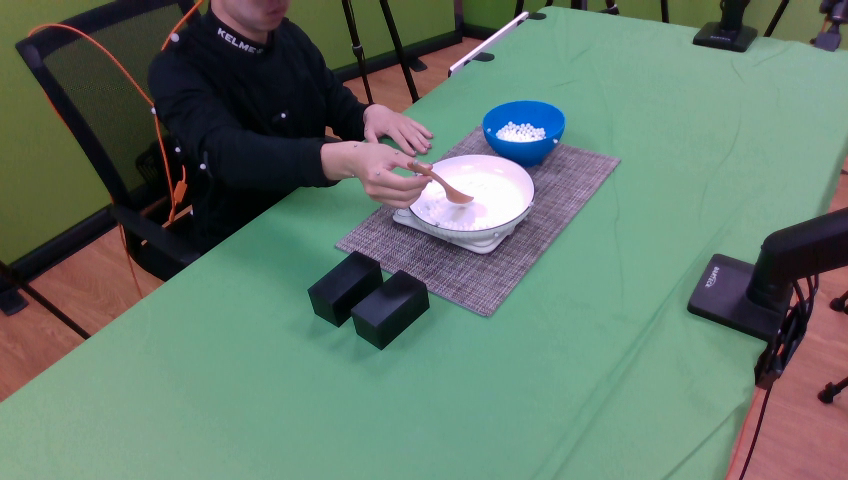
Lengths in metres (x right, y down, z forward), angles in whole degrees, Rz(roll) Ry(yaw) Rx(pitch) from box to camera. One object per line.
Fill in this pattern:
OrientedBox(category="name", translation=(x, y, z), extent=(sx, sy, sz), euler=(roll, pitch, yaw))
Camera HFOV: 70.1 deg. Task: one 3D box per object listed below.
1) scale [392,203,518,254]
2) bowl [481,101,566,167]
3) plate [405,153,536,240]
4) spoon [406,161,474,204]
OrientedBox(category="scale", translation=(0.061, -0.051, 1.006), extent=(0.199, 0.032, 0.149), euler=(22, 48, 30))
OrientedBox(category="bowl", translation=(0.183, -0.186, 1.111), extent=(0.151, 0.077, 0.150), euler=(-4, 40, 4))
OrientedBox(category="plate", translation=(0.075, -0.067, 0.973), extent=(0.209, 0.038, 0.208), euler=(-4, 41, 4))
OrientedBox(category="spoon", translation=(0.023, -0.084, 0.887), extent=(0.041, 0.195, 0.021), euler=(-1, 74, 29))
